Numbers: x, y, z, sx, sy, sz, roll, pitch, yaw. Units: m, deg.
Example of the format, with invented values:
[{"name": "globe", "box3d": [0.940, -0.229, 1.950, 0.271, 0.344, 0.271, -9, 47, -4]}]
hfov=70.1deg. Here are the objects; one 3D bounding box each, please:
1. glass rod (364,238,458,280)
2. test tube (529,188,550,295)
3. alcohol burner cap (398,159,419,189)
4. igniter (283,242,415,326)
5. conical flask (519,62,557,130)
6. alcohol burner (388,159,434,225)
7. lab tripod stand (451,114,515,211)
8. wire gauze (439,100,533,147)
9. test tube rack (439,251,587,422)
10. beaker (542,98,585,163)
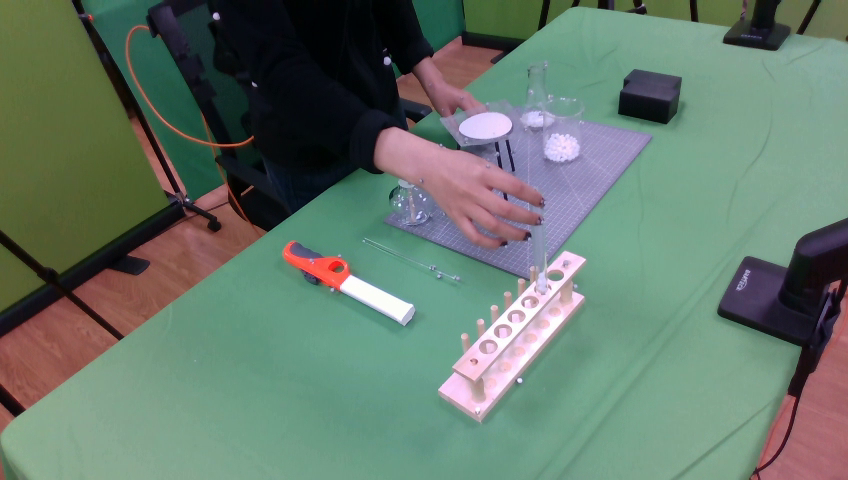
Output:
[{"name": "glass rod", "box3d": [-0.026, 0.029, 0.966, 0.198, 0.008, 0.008, 21, 49, 35]}, {"name": "test tube", "box3d": [0.139, 0.006, 0.725, 0.017, 0.151, 0.017, -8, 32, 5]}, {"name": "alcohol burner cap", "box3d": [-0.028, -0.111, 0.988, 0.034, 0.048, 0.033, -3, 46, 4]}, {"name": "igniter", "box3d": [-0.126, 0.062, 0.931, 0.274, 0.025, 0.057, 24, 61, 33]}, {"name": "conical flask", "box3d": [0.225, -0.287, 1.198, 0.075, 0.122, 0.075, -6, 40, 5]}, {"name": "alcohol burner", "box3d": [-0.023, -0.085, 1.013, 0.078, 0.119, 0.077, -4, 39, 4]}, {"name": "lab tripod stand", "box3d": [0.113, -0.140, 1.037, 0.148, 0.132, 0.147, -6, 38, 5]}, {"name": "wire gauze", "box3d": [0.100, -0.190, 0.994, 0.125, 0.011, 0.120, -15, 39, -7]}, {"name": "test tube rack", "box3d": [0.118, 0.111, 0.780, 0.066, 0.085, 0.243, 26, 51, 35]}, {"name": "beaker", "box3d": [0.255, -0.200, 1.107, 0.073, 0.101, 0.084, 9, 43, 21]}]
